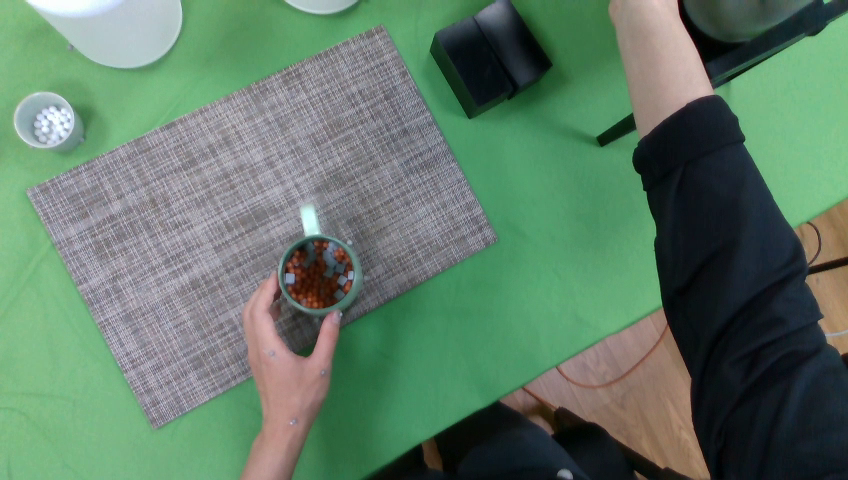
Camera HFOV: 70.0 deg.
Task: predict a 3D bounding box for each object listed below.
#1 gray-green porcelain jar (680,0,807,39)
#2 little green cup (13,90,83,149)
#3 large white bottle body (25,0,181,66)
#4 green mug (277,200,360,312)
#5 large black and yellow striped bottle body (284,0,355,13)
[{"bbox_3d":[0.307,-0.253,0.556,0.106,0.126,0.105,1,85,-7],"label":"gray-green porcelain jar"},{"bbox_3d":[-0.413,-0.130,0.670,0.062,0.038,0.061,1,86,-8],"label":"little green cup"},{"bbox_3d":[-0.338,-0.270,0.617,0.131,0.184,0.130,1,85,-7],"label":"large white bottle body"},{"bbox_3d":[-0.119,0.017,0.663,0.092,0.105,0.125,-11,87,-8],"label":"green mug"},{"bbox_3d":[-0.119,-0.346,0.655,0.131,0.184,0.130,1,85,-7],"label":"large black and yellow striped bottle body"}]
